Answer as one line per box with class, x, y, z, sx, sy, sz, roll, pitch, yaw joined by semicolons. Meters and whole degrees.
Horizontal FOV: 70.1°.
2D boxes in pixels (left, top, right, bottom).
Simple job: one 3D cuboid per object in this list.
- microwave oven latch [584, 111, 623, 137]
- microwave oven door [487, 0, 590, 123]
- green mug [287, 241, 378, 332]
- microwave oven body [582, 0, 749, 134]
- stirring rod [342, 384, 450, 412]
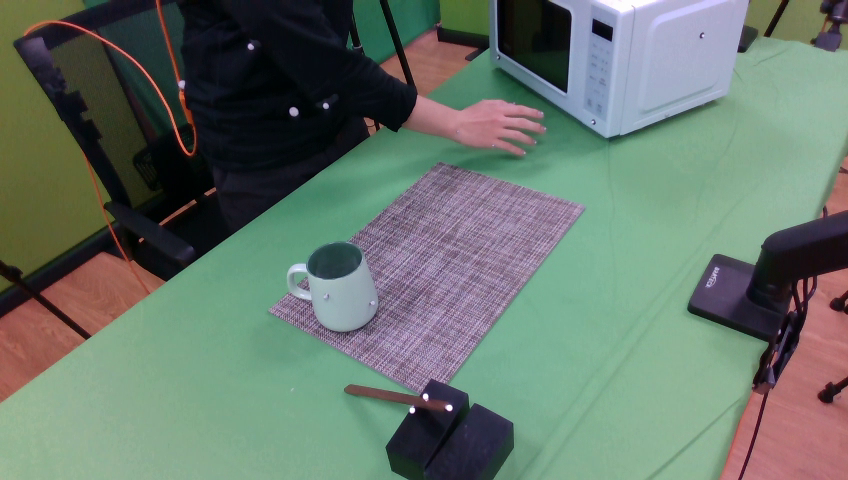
microwave oven latch;0.337;-0.222;1.142;0.030;0.029;0.078;-21;42;-14
microwave oven door;0.232;-0.420;1.231;0.039;0.245;0.352;-22;43;-16
green mug;-0.131;0.065;0.843;0.125;0.105;0.092;3;42;12
microwave oven body;0.382;-0.444;1.246;0.327;0.261;0.437;-22;42;-16
stirring rod;-0.038;0.186;0.714;0.175;0.006;0.014;-3;22;43
